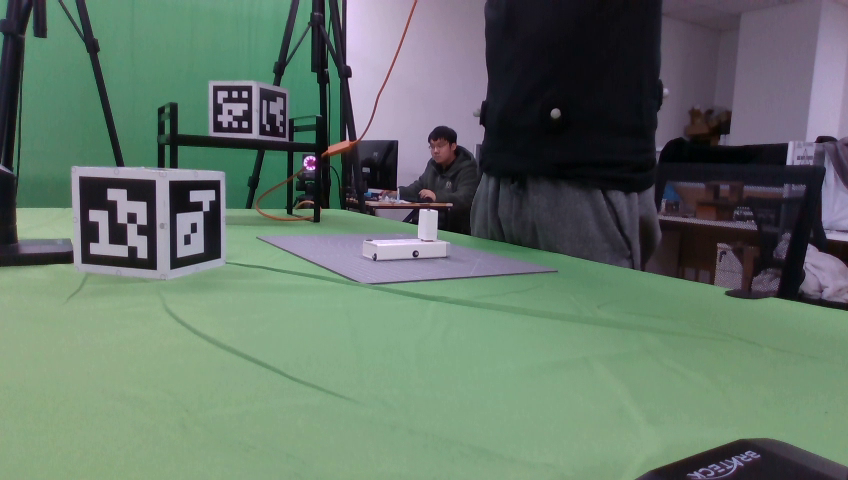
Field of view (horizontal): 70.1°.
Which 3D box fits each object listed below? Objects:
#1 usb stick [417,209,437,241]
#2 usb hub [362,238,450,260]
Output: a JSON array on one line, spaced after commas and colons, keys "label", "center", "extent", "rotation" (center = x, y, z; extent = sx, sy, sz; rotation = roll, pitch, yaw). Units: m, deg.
[{"label": "usb stick", "center": [0.005, -0.016, 0.904], "extent": [0.021, 0.059, 0.027], "rotation": [-3, 6, -32]}, {"label": "usb hub", "center": [-0.026, 0.012, 0.894], "extent": [0.126, 0.025, 0.049], "rotation": [-1, 8, -31]}]
